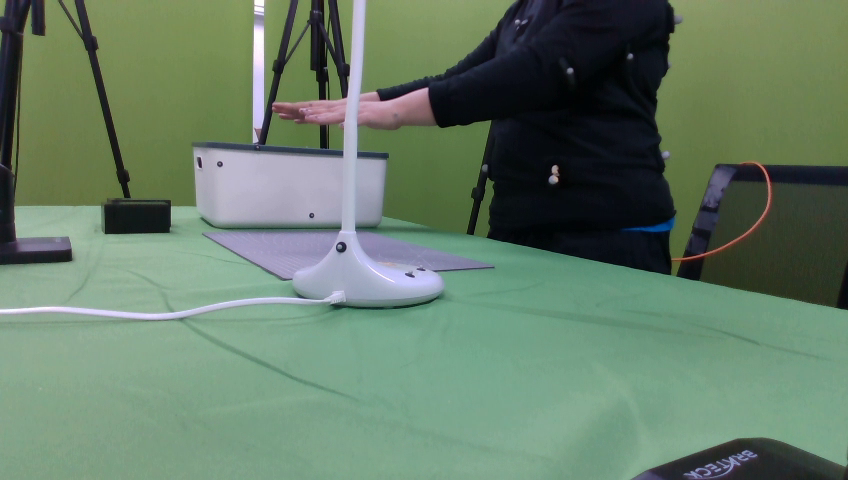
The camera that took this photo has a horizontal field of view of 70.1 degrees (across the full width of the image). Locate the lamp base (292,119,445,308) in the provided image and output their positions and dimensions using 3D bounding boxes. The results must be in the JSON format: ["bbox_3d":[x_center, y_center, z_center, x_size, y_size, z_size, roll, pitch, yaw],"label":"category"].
[{"bbox_3d":[-0.056,-0.030,0.616,0.160,0.180,0.179,3,10,8],"label":"lamp base"}]

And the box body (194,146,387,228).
[{"bbox_3d":[-0.288,-0.118,1.291,0.366,0.160,0.253,-1,8,-28],"label":"box body"}]

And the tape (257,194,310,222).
[{"bbox_3d":[-0.301,-0.070,1.297,0.117,0.052,0.117,3,7,0],"label":"tape"}]

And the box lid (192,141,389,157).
[{"bbox_3d":[-0.287,-0.191,1.281,0.373,0.015,0.262,-1,8,-27],"label":"box lid"}]
